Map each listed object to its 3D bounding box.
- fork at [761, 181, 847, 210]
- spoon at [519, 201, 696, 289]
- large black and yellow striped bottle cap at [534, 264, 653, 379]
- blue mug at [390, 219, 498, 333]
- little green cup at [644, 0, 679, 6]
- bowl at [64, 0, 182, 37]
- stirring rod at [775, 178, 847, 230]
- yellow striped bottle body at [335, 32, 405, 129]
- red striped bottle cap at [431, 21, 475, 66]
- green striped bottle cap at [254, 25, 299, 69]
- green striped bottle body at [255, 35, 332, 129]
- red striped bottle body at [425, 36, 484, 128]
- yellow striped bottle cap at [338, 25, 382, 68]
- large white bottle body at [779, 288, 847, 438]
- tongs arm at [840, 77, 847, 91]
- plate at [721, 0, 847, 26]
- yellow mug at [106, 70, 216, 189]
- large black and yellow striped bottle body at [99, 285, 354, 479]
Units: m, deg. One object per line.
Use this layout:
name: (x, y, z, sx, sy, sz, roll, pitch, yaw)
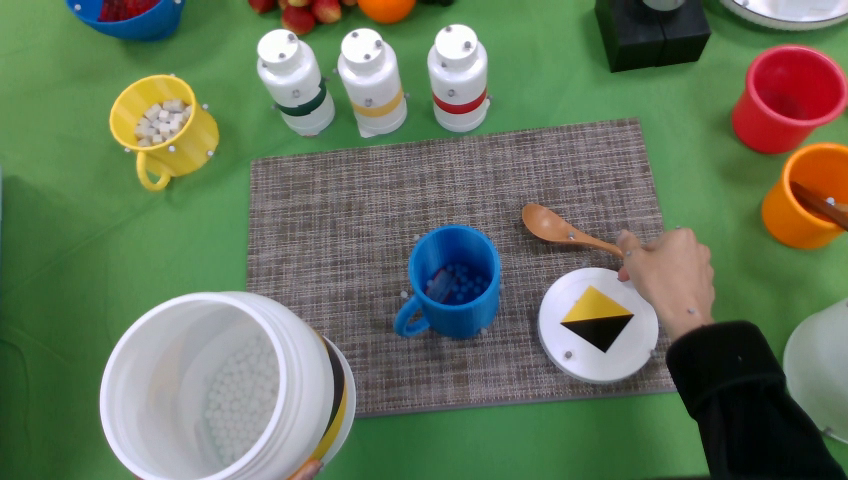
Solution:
fork: (0.407, -0.027, 0.552, 0.028, 0.019, 0.205, -33, 25, -15)
spoon: (0.187, 0.006, 0.624, 0.193, 0.022, 0.041, 23, 41, 13)
large black and yellow striped bottle cap: (0.167, 0.079, 0.602, 0.115, 0.019, 0.114, -1, 67, 3)
blue mug: (0.016, 0.048, 0.579, 0.116, 0.106, 0.082, -38, 70, -9)
little green cup: (0.267, -0.292, 0.670, 0.061, 0.039, 0.061, -1, 67, 3)
bowl: (-0.366, -0.314, 0.768, 0.151, 0.077, 0.150, -1, 69, 4)
stirring rod: (0.378, -0.026, 0.562, 0.014, 0.006, 0.174, -3, 26, 1)
yellow striped bottle body: (-0.060, -0.180, 0.668, 0.063, 0.121, 0.062, -2, 68, 5)
red striped bottle cap: (0.030, -0.199, 0.611, 0.044, 0.018, 0.044, 0, 67, 1)
green striped bottle cap: (-0.153, -0.200, 0.628, 0.044, 0.020, 0.044, -1, 69, 2)
green striped bottle body: (-0.146, -0.181, 0.676, 0.063, 0.120, 0.062, -2, 69, 5)
red striped bottle body: (0.035, -0.180, 0.660, 0.063, 0.120, 0.062, -2, 68, 5)
yellow striped bottle cap: (-0.066, -0.198, 0.619, 0.044, 0.019, 0.044, 0, 65, 1)
large white bottle body: (0.393, 0.091, 0.490, 0.130, 0.186, 0.129, -2, 68, 5)
tongs arm: (0.604, -0.060, 0.608, 0.051, 0.027, 0.382, -40, 72, -13)
plate: (0.432, -0.338, 0.727, 0.209, 0.038, 0.207, -2, 70, 4)
yellow mug: (-0.304, -0.122, 0.697, 0.100, 0.064, 0.130, 4, 70, 6)
large black and yellow striped bottle body: (-0.127, 0.106, 0.428, 0.131, 0.185, 0.130, -1, 73, 2)
